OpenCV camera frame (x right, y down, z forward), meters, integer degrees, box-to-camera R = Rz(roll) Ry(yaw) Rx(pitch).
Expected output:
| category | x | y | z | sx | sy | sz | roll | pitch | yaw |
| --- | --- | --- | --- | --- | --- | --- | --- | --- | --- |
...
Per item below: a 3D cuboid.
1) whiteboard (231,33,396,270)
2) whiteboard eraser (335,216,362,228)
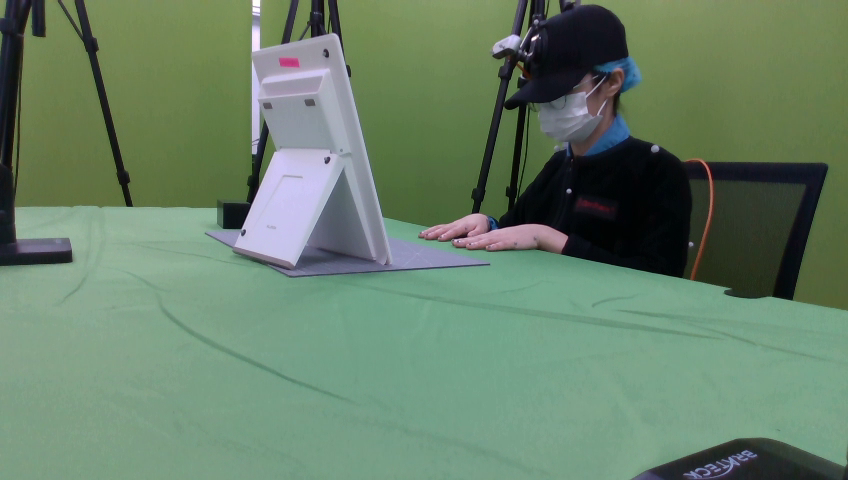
| category | x | y | z | sx | sy | sz | roll | pitch | yaw |
| --- | --- | --- | --- | --- | --- | --- | --- | --- | --- |
| whiteboard | -0.193 | -0.094 | 0.805 | 0.144 | 0.305 | 0.216 | -28 | 25 | -35 |
| whiteboard eraser | -0.159 | -0.039 | 1.277 | 0.041 | 0.019 | 0.101 | 3 | 7 | 6 |
